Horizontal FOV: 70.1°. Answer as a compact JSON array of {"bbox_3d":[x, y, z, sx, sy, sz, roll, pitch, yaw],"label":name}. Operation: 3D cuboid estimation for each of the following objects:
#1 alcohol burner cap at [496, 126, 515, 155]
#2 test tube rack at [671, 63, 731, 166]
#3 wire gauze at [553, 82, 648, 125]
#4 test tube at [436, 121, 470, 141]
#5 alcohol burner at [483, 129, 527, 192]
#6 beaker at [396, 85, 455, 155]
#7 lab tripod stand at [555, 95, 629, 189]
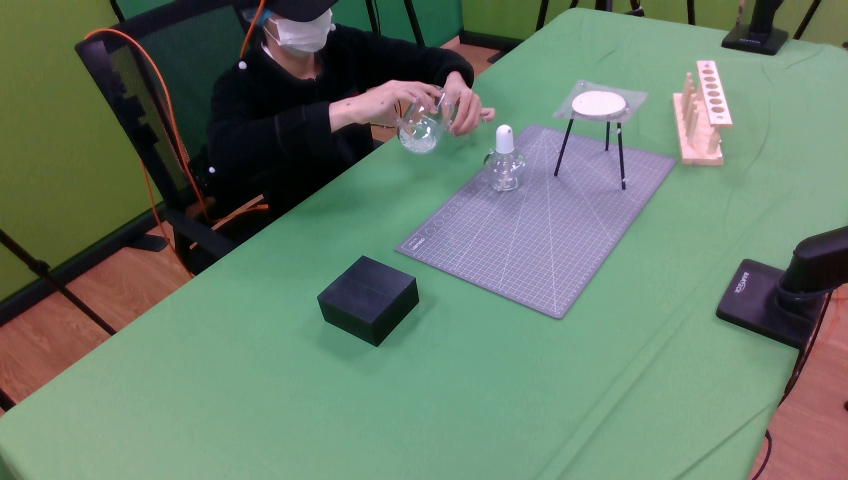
[{"bbox_3d":[0.138,-0.172,1.028,0.034,0.048,0.033,-5,38,4],"label":"alcohol burner cap"},{"bbox_3d":[0.513,-0.241,1.132,0.066,0.085,0.242,4,41,14],"label":"test tube rack"},{"bbox_3d":[0.293,-0.226,1.002,0.120,0.011,0.125,17,45,27],"label":"wire gauze"},{"bbox_3d":[0.056,-0.201,1.121,0.017,0.017,0.151,12,5,22],"label":"test tube"},{"bbox_3d":[0.141,-0.144,1.050,0.078,0.119,0.077,-4,42,4],"label":"alcohol burner"},{"bbox_3d":[0.002,-0.193,0.999,0.073,0.084,0.100,2,47,24],"label":"beaker"},{"bbox_3d":[0.300,-0.174,1.045,0.148,0.132,0.147,-5,38,5],"label":"lab tripod stand"}]
